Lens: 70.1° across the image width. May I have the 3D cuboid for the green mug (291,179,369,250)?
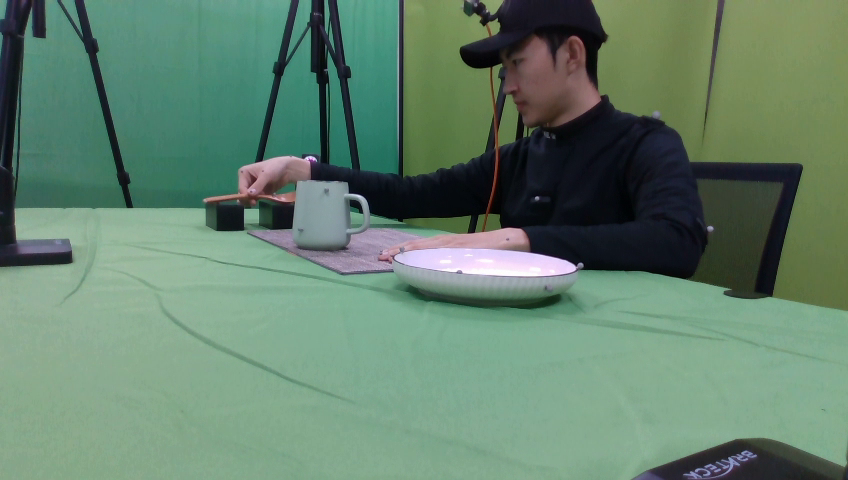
[{"bbox_3d":[-0.144,-0.040,0.944,0.125,0.105,0.093,4,7,16],"label":"green mug"}]

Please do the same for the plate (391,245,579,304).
[{"bbox_3d":[0.066,0.038,0.683,0.209,0.038,0.209,2,7,0],"label":"plate"}]

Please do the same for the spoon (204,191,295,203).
[{"bbox_3d":[-0.338,-0.086,1.208,0.195,0.021,0.041,-3,29,-30],"label":"spoon"}]
